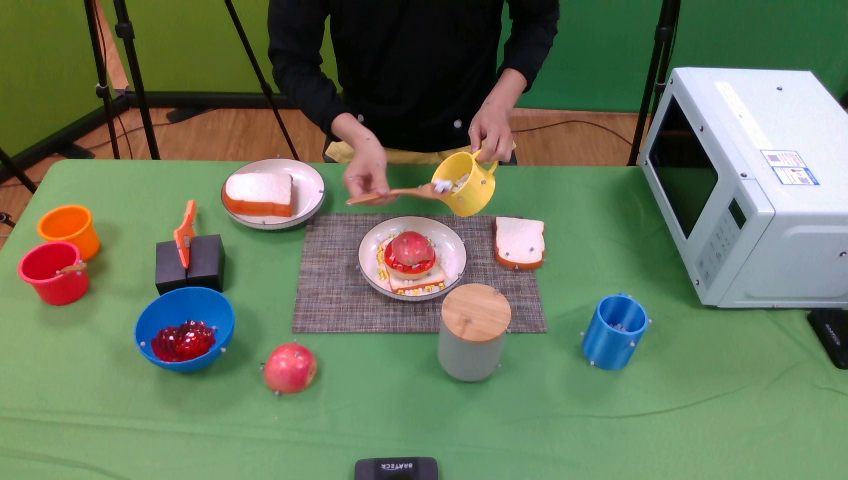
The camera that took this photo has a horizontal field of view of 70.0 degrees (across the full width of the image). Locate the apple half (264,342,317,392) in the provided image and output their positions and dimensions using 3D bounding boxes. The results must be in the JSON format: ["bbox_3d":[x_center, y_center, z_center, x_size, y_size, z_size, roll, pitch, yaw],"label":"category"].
[{"bbox_3d":[-0.214,0.198,0.970,0.074,0.053,0.080,19,48,11],"label":"apple half"}]

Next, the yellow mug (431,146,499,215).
[{"bbox_3d":[0.080,-0.114,1.080,0.131,0.064,0.099,-46,38,9],"label":"yellow mug"}]

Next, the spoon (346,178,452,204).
[{"bbox_3d":[-0.039,-0.080,0.996,0.194,0.022,0.041,-9,45,-30],"label":"spoon"}]

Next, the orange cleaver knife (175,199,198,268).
[{"bbox_3d":[-0.438,-0.017,1.138,0.012,0.077,0.210,-14,27,-6],"label":"orange cleaver knife"}]

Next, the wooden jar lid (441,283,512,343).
[{"bbox_3d":[0.080,0.114,0.931,0.108,0.021,0.107,1,49,-1],"label":"wooden jar lid"}]

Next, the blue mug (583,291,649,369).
[{"bbox_3d":[0.324,0.142,1.023,0.082,0.106,0.116,15,47,11],"label":"blue mug"}]

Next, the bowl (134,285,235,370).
[{"bbox_3d":[-0.377,0.155,0.981,0.151,0.077,0.150,2,46,-2],"label":"bowl"}]

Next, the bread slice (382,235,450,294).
[{"bbox_3d":[-0.025,0.042,1.144,0.107,0.018,0.133,-14,53,-14],"label":"bread slice"}]

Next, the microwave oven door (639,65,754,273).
[{"bbox_3d":[0.522,-0.147,1.193,0.039,0.245,0.353,0,47,-3],"label":"microwave oven door"}]

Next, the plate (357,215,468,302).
[{"bbox_3d":[-0.022,0.037,1.141,0.208,0.039,0.206,2,46,-2],"label":"plate"}]

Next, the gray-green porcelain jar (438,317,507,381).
[{"bbox_3d":[0.076,0.158,0.977,0.106,0.127,0.105,2,46,-2],"label":"gray-green porcelain jar"}]

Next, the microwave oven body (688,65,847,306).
[{"bbox_3d":[0.669,-0.111,1.176,0.326,0.261,0.439,0,46,-3],"label":"microwave oven body"}]

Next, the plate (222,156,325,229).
[{"bbox_3d":[-0.308,-0.095,1.251,0.209,0.038,0.208,2,47,-2],"label":"plate"}]

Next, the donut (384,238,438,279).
[{"bbox_3d":[-0.025,0.029,1.110,0.099,0.048,0.098,2,46,-2],"label":"donut"}]

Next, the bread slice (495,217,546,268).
[{"bbox_3d":[0.194,0.002,1.205,0.105,0.019,0.131,5,45,3],"label":"bread slice"}]

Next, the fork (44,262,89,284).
[{"bbox_3d":[-0.599,0.054,1.014,0.207,0.019,0.028,-14,29,45],"label":"fork"}]

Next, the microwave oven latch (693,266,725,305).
[{"bbox_3d":[0.523,0.082,1.115,0.030,0.029,0.078,3,46,0],"label":"microwave oven latch"}]

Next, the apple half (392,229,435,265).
[{"bbox_3d":[-0.020,0.004,1.083,0.081,0.033,0.081,6,50,-7],"label":"apple half"}]
